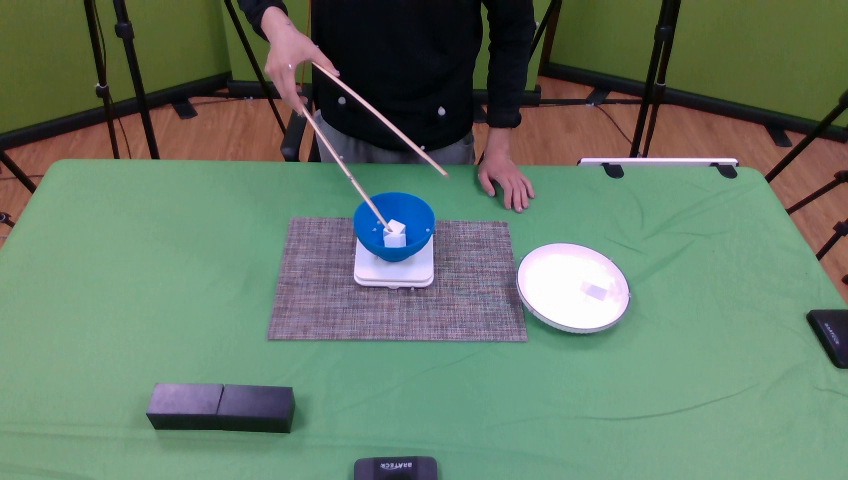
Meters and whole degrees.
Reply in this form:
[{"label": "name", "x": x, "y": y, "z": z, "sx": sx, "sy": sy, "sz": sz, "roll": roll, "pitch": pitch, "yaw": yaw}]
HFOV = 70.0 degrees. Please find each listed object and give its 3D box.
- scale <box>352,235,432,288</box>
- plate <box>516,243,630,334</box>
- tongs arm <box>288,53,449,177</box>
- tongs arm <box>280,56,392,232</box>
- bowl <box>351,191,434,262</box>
[{"label": "scale", "x": -0.060, "y": 0.010, "z": 1.171, "sx": 0.149, "sy": 0.032, "sz": 0.199, "roll": 2, "pitch": 46, "yaw": -3}, {"label": "plate", "x": 0.272, "y": 0.092, "z": 1.120, "sx": 0.208, "sy": 0.039, "sz": 0.206, "roll": 2, "pitch": 46, "yaw": -2}, {"label": "tongs arm", "x": -0.100, "y": -0.223, "z": 1.048, "sx": 0.386, "sy": 0.028, "sz": 0.028, "roll": 41, "pitch": 101, "yaw": 20}, {"label": "tongs arm", "x": -0.151, "y": -0.174, "z": 1.057, "sx": 0.051, "sy": 0.026, "sz": 0.383, "roll": -41, "pitch": 71, "yaw": 10}, {"label": "bowl", "x": -0.057, "y": -0.013, "z": 1.119, "sx": 0.151, "sy": 0.077, "sz": 0.150, "roll": 1, "pitch": 46, "yaw": -1}]
